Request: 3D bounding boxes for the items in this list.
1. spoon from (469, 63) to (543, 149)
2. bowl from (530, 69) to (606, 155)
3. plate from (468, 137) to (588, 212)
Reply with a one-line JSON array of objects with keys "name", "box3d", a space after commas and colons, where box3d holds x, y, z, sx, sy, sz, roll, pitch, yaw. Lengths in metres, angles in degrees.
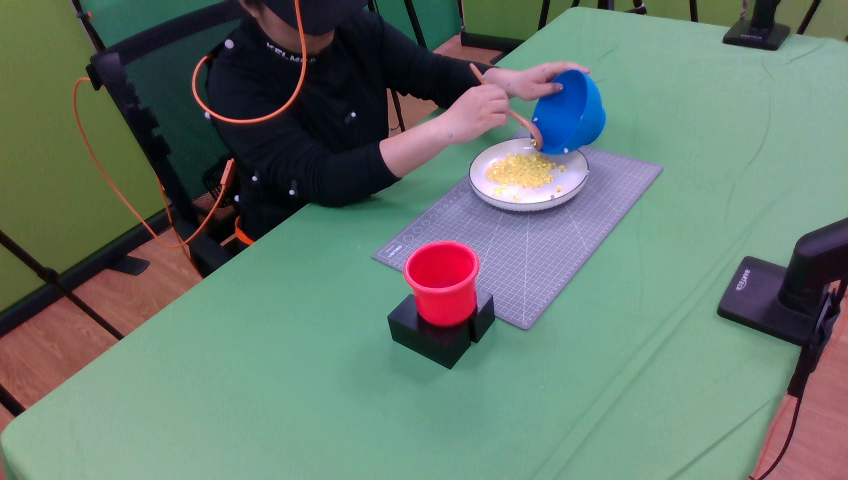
[{"name": "spoon", "box3d": [0.143, -0.229, 1.039, 0.021, 0.194, 0.041, -41, 18, 28]}, {"name": "bowl", "box3d": [0.263, -0.212, 1.056, 0.077, 0.151, 0.150, 15, 33, -26]}, {"name": "plate", "box3d": [0.182, -0.112, 1.064, 0.207, 0.039, 0.206, -5, 40, 5]}]
